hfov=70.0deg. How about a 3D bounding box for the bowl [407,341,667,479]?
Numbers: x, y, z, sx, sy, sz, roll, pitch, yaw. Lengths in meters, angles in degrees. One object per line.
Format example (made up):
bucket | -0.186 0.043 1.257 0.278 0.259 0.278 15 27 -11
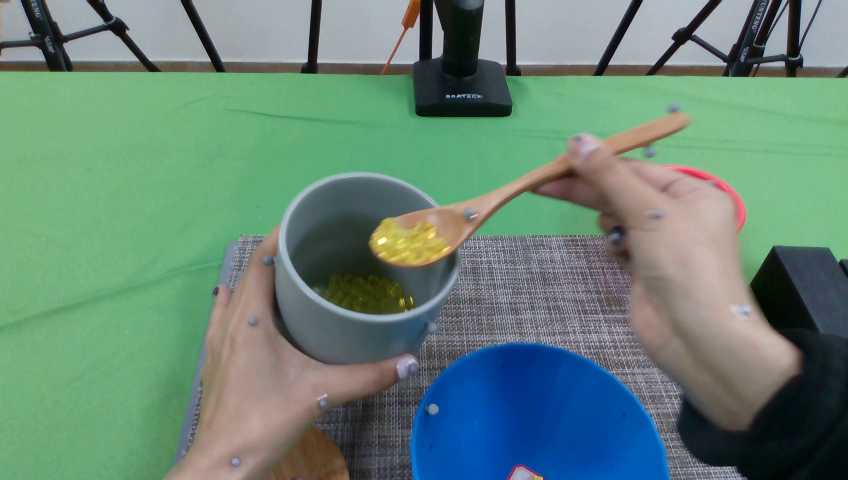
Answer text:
bowl | 0.064 0.146 0.379 0.151 0.077 0.150 2 45 -1

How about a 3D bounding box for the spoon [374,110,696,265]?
spoon | 0.064 -0.032 0.338 0.194 0.022 0.041 -25 47 2

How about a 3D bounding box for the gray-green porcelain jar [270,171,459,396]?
gray-green porcelain jar | -0.045 0.036 0.393 0.106 0.127 0.105 9 53 -11

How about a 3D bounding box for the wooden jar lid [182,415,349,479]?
wooden jar lid | -0.102 0.166 0.391 0.108 0.021 0.107 1 44 -1
